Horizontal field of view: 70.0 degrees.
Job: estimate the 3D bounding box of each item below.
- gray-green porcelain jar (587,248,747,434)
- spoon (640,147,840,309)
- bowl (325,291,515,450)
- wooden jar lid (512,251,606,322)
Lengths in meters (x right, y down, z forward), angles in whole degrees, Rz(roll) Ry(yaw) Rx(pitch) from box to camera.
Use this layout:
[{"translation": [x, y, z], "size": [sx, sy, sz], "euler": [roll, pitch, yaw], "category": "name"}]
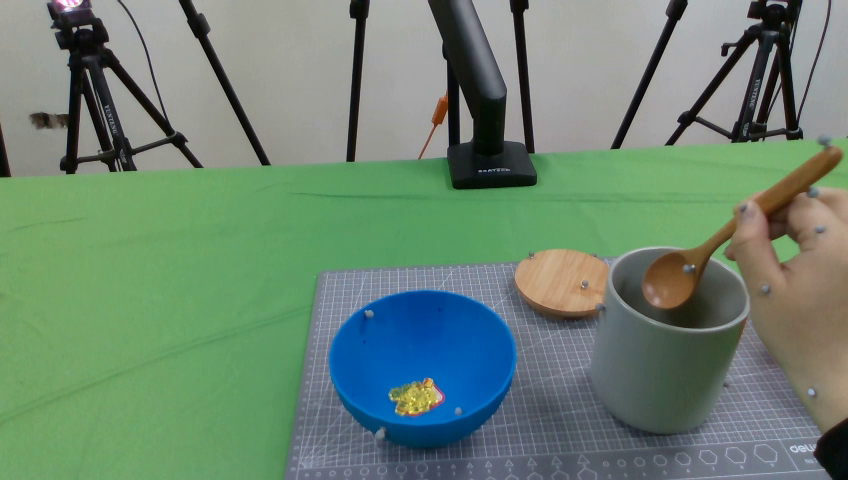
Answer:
[{"translation": [0.193, 0.087, 0.500], "size": [0.106, 0.127, 0.105], "euler": [-1, 35, 1], "category": "gray-green porcelain jar"}, {"translation": [0.198, 0.000, 0.403], "size": [0.022, 0.195, 0.041], "euler": [-6, 65, -12], "category": "spoon"}, {"translation": [-0.002, 0.119, 0.503], "size": [0.151, 0.077, 0.150], "euler": [-1, 35, 1], "category": "bowl"}, {"translation": [0.148, 0.050, 0.649], "size": [0.108, 0.021, 0.107], "euler": [-1, 34, 1], "category": "wooden jar lid"}]
